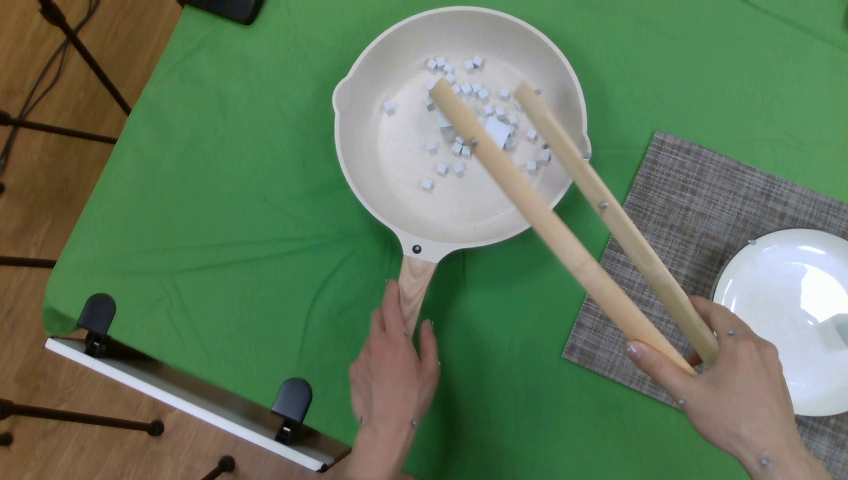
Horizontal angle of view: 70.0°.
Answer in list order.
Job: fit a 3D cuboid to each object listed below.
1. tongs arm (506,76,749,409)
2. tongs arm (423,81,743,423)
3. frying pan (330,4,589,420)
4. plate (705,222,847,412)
[{"bbox_3d":[0.174,-0.013,0.575,0.051,0.026,0.382,-13,63,-42],"label":"tongs arm"},{"bbox_3d":[0.124,0.002,0.528,0.385,0.028,0.028,50,129,13],"label":"tongs arm"},{"bbox_3d":[0.009,-0.037,0.697,0.306,0.103,0.485,16,74,7],"label":"frying pan"},{"bbox_3d":[0.418,0.085,0.679,0.207,0.039,0.207,-1,80,4],"label":"plate"}]
